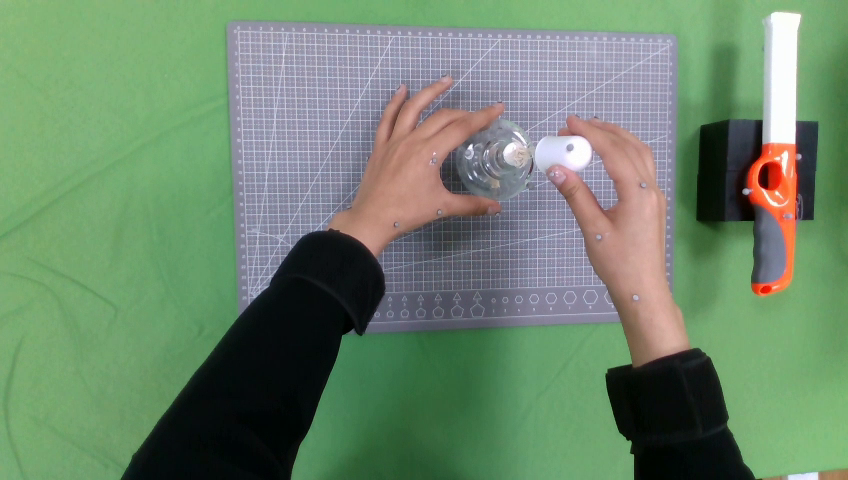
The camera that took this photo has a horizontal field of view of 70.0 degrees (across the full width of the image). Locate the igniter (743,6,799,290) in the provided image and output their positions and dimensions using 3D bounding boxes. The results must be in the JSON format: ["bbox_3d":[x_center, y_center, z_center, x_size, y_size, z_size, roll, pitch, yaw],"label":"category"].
[{"bbox_3d":[0.343,-0.089,0.597,0.057,0.025,0.276,1,92,-8],"label":"igniter"}]

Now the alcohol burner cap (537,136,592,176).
[{"bbox_3d":[0.113,-0.067,0.479,0.034,0.047,0.034,-1,96,-12],"label":"alcohol burner cap"}]

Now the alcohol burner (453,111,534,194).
[{"bbox_3d":[0.069,-0.081,0.556,0.078,0.118,0.078,-1,95,-10],"label":"alcohol burner"}]
